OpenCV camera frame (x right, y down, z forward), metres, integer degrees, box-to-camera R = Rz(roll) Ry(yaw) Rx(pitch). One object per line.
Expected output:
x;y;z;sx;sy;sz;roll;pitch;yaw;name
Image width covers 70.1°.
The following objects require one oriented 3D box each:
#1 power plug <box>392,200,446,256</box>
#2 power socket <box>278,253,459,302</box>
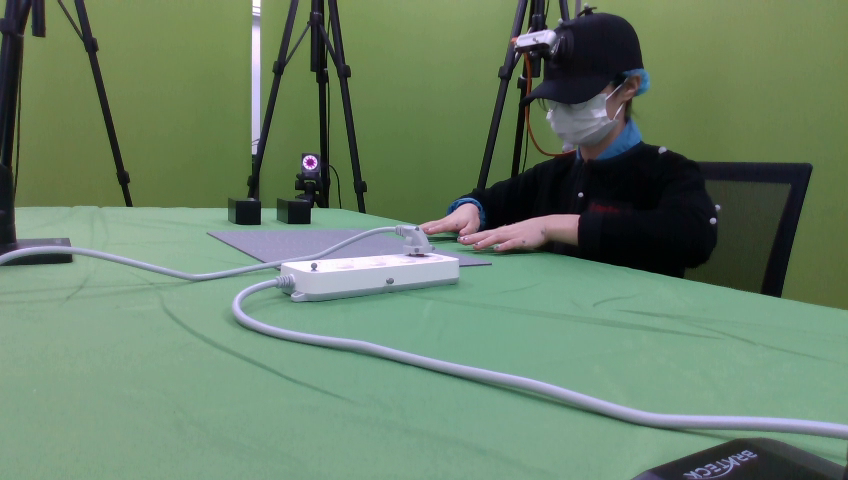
-0.008;-0.016;0.725;0.053;0.072;0.035;14;-7;-20;power plug
-0.055;0.037;0.675;0.228;0.032;0.072;-4;8;-40;power socket
